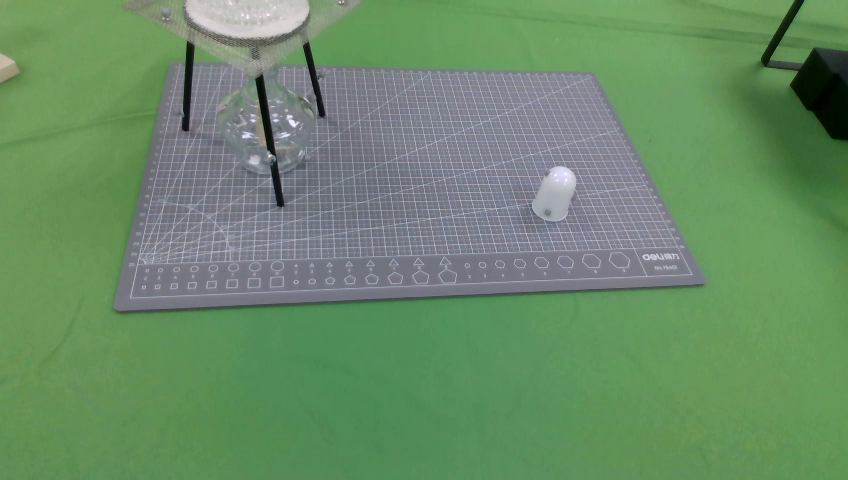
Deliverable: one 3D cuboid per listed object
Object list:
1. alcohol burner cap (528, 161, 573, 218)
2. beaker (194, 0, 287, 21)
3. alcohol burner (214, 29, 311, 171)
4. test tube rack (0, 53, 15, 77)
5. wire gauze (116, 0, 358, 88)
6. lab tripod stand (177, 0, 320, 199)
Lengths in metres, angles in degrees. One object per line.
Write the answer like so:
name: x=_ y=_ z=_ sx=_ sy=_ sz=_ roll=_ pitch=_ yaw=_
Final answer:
alcohol burner cap: x=0.110 y=-0.045 z=0.516 sx=0.034 sy=0.048 sz=0.033 roll=4 pitch=49 yaw=-5
beaker: x=-0.128 y=-0.206 z=0.402 sx=0.073 sy=0.101 sz=0.084 roll=36 pitch=55 yaw=19
alcohol burner: x=-0.131 y=-0.115 z=0.489 sx=0.078 sy=0.120 sz=0.077 roll=6 pitch=47 yaw=-6
test tube rack: x=-0.465 y=-0.128 z=0.468 sx=0.066 sy=0.086 sz=0.241 roll=28 pitch=51 yaw=15
wire gauze: x=-0.130 y=-0.169 z=0.436 sx=0.124 sy=0.011 sz=0.121 roll=31 pitch=55 yaw=12
lab tripod stand: x=-0.136 y=-0.127 z=0.485 sx=0.149 sy=0.132 sz=0.147 roll=6 pitch=49 yaw=-7
